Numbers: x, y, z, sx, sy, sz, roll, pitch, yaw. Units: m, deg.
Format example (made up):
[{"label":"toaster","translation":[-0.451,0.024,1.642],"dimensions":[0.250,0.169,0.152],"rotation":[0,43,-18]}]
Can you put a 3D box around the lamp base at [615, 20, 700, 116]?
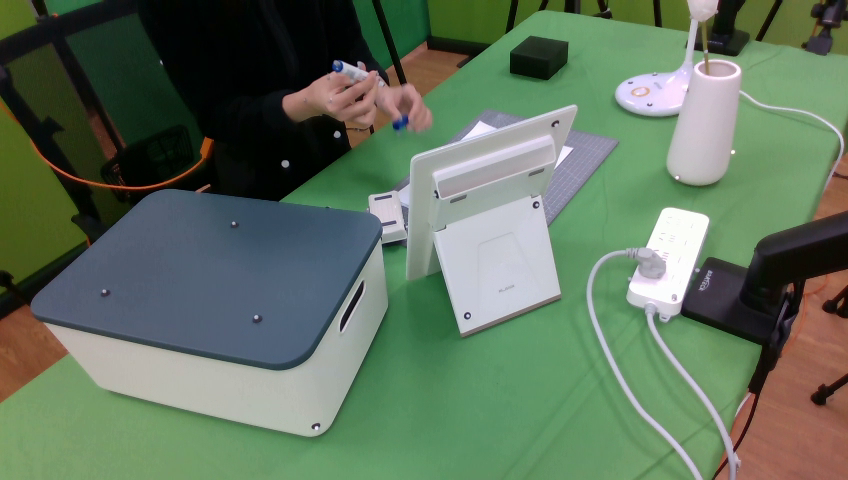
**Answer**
[{"label":"lamp base","translation":[0.484,-0.364,1.211],"dimensions":[0.180,0.181,0.159],"rotation":[-15,41,-14]}]

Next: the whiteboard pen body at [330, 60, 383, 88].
[{"label":"whiteboard pen body","translation":[-0.091,-0.233,0.860],"dimensions":[0.017,0.017,0.141],"rotation":[13,7,22]}]

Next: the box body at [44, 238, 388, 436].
[{"label":"box body","translation":[-0.251,0.088,0.799],"dimensions":[0.362,0.161,0.254],"rotation":[7,42,16]}]

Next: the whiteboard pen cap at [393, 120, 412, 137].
[{"label":"whiteboard pen cap","translation":[-0.036,-0.185,1.011],"dimensions":[0.018,0.018,0.033],"rotation":[23,48,31]}]

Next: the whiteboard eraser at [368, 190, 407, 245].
[{"label":"whiteboard eraser","translation":[-0.061,-0.035,1.006],"dimensions":[0.056,0.042,0.112],"rotation":[-9,40,-3]}]

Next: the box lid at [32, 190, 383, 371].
[{"label":"box lid","translation":[-0.257,0.032,0.750],"dimensions":[0.370,0.015,0.263],"rotation":[7,41,16]}]

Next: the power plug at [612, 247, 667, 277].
[{"label":"power plug","translation":[0.306,0.031,0.852],"dimensions":[0.072,0.053,0.035],"rotation":[21,48,37]}]

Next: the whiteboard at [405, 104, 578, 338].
[{"label":"whiteboard","translation":[0.102,0.003,0.787],"dimensions":[0.218,0.306,0.143],"rotation":[-19,62,-14]}]

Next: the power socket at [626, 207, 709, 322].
[{"label":"power socket","translation":[0.360,0.026,0.886],"dimensions":[0.072,0.033,0.227],"rotation":[17,46,27]}]

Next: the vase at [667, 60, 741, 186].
[{"label":"vase","translation":[0.463,-0.189,0.994],"dimensions":[0.098,0.201,0.097],"rotation":[-4,40,4]}]

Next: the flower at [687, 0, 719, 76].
[{"label":"flower","translation":[0.436,-0.242,0.934],"dimensions":[0.038,0.364,0.043],"rotation":[-24,49,9]}]
